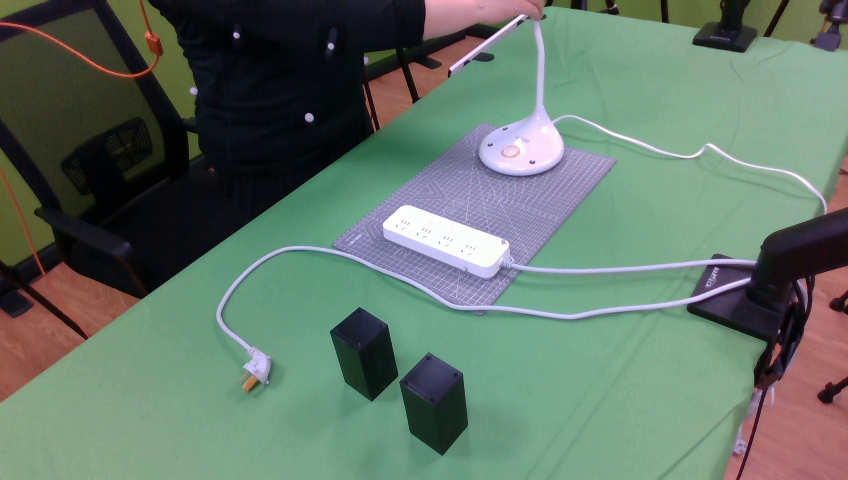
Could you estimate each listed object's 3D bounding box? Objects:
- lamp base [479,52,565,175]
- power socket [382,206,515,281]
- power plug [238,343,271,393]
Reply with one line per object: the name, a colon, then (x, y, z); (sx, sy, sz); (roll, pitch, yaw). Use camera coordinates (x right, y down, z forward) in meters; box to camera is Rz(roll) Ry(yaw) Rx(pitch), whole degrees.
lamp base: (0.182, -0.236, 1.094); (0.159, 0.181, 0.179); (18, 43, 27)
power socket: (0.032, 0.002, 0.950); (0.225, 0.033, 0.072); (21, 49, 29)
power plug: (-0.230, 0.172, 0.800); (0.072, 0.035, 0.053); (7, 50, 48)
